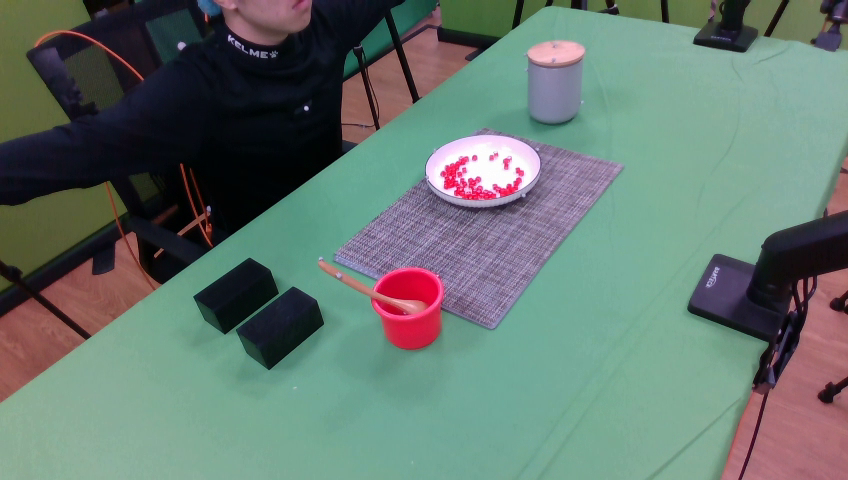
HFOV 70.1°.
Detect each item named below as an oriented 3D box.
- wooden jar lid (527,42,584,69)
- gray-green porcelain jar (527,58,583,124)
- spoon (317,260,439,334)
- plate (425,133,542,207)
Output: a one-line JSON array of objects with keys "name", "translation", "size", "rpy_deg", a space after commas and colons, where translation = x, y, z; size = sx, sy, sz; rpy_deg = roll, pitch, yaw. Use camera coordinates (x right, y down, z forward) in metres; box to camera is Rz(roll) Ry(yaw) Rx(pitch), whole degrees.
[{"name": "wooden jar lid", "translation": [0.253, -0.353, 1.164], "size": [0.108, 0.021, 0.108], "rpy_deg": [-5, 39, 5]}, {"name": "gray-green porcelain jar", "translation": [0.260, -0.305, 1.207], "size": [0.106, 0.127, 0.105], "rpy_deg": [-4, 41, 4]}, {"name": "spoon", "translation": [-0.056, 0.074, 0.788], "size": [0.195, 0.021, 0.041], "rpy_deg": [27, 42, -21]}, {"name": "plate", "translation": [0.106, -0.122, 1.079], "size": [0.207, 0.039, 0.206], "rpy_deg": [-4, 41, 4]}]
